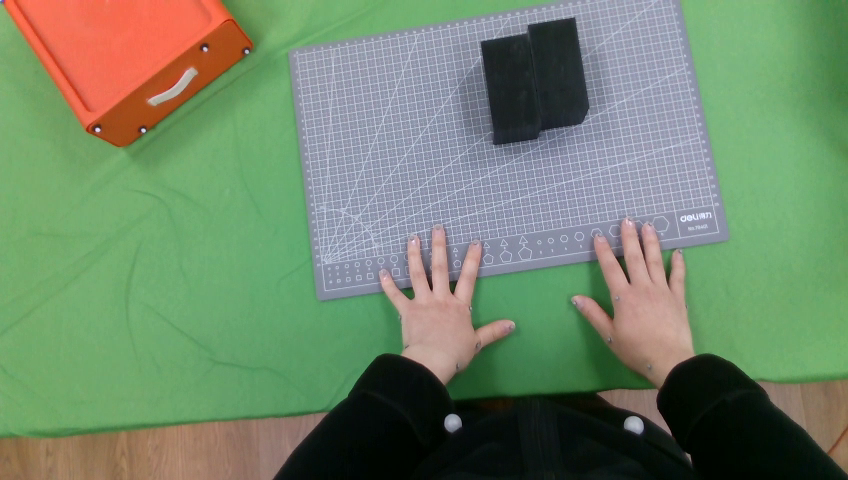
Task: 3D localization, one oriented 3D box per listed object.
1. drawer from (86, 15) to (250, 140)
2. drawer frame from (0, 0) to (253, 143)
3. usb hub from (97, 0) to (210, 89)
[{"bbox_3d":[-0.342,-0.256,0.694,0.194,0.073,0.211,-37,82,1],"label":"drawer"},{"bbox_3d":[-0.344,-0.257,0.694,0.201,0.083,0.212,-39,80,0],"label":"drawer frame"},{"bbox_3d":[-0.314,-0.235,0.704,0.125,0.025,0.049,-37,84,1],"label":"usb hub"}]
